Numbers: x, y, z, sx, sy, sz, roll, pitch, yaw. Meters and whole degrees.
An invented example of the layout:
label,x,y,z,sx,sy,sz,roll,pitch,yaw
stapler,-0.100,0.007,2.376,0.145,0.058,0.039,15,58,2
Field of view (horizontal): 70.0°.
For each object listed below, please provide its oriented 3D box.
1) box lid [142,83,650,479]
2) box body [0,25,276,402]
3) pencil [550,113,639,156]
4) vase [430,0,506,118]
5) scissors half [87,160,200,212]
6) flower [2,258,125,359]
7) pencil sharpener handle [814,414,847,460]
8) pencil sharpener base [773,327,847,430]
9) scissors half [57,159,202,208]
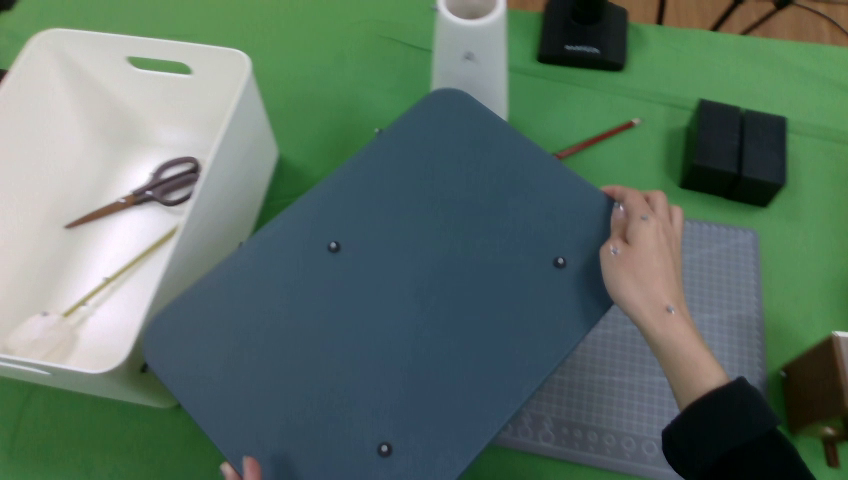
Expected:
label,x,y,z,sx,sy,sz,roll,pitch,yaw
box lid,-0.015,0.038,0.501,0.261,0.015,0.371,41,72,18
box body,-0.333,-0.030,0.645,0.254,0.161,0.361,9,62,7
pencil,0.195,-0.124,0.767,0.194,0.012,0.012,-26,64,-12
vase,0.051,-0.198,0.705,0.098,0.201,0.097,-1,60,2
scissors half,-0.352,-0.050,0.739,0.175,0.040,0.012,-22,19,1
flower,-0.334,0.004,0.726,0.038,0.044,0.360,2,37,30
pencil sharpener handle,0.376,0.175,0.535,0.036,0.068,0.030,12,62,-8
pencil sharpener base,0.386,0.137,0.569,0.061,0.108,0.076,6,62,5
scissors half,-0.357,-0.063,0.733,0.175,0.040,0.012,-17,25,-2
